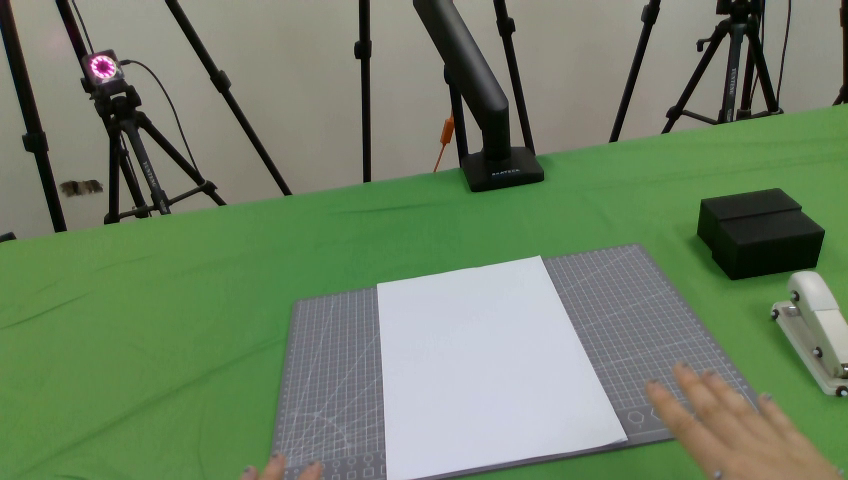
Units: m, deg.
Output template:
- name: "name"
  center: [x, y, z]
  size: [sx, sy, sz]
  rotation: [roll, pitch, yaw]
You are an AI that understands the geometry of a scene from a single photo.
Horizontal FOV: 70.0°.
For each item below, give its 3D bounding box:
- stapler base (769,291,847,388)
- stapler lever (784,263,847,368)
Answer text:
- name: "stapler base"
  center: [0.383, 0.087, 0.590]
  size: [0.041, 0.024, 0.129]
  rotation: [-7, 34, 7]
- name: "stapler lever"
  center: [0.380, 0.068, 0.575]
  size: [0.027, 0.040, 0.117]
  rotation: [-7, 34, 7]
